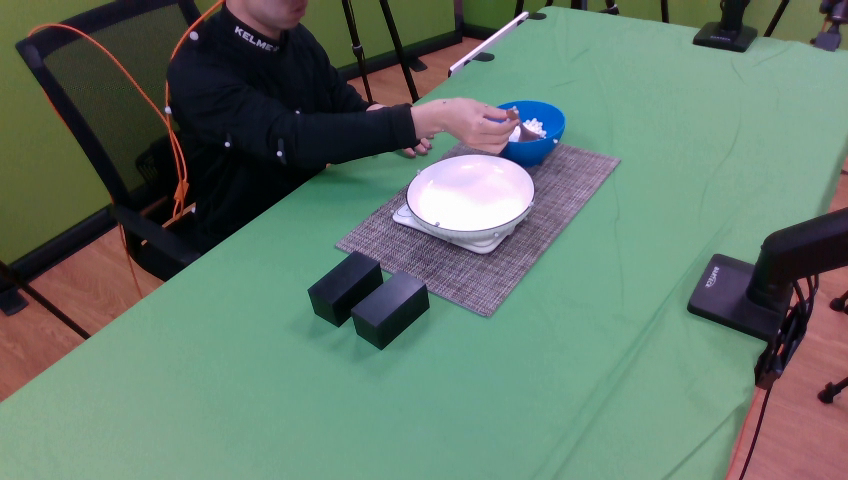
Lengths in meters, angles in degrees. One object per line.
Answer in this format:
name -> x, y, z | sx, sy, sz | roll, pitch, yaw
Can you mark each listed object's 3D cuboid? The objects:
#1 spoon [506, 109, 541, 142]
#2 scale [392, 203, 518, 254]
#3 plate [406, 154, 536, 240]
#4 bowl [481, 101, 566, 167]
spoon -> 0.167, -0.196, 1.049 | 0.041, 0.195, 0.021 | -11, 77, 20
scale -> 0.060, -0.050, 1.006 | 0.199, 0.032, 0.149 | 22, 48, 30
plate -> 0.075, -0.067, 0.973 | 0.209, 0.038, 0.208 | -4, 41, 4
bowl -> 0.183, -0.186, 1.111 | 0.151, 0.077, 0.150 | -4, 40, 4
